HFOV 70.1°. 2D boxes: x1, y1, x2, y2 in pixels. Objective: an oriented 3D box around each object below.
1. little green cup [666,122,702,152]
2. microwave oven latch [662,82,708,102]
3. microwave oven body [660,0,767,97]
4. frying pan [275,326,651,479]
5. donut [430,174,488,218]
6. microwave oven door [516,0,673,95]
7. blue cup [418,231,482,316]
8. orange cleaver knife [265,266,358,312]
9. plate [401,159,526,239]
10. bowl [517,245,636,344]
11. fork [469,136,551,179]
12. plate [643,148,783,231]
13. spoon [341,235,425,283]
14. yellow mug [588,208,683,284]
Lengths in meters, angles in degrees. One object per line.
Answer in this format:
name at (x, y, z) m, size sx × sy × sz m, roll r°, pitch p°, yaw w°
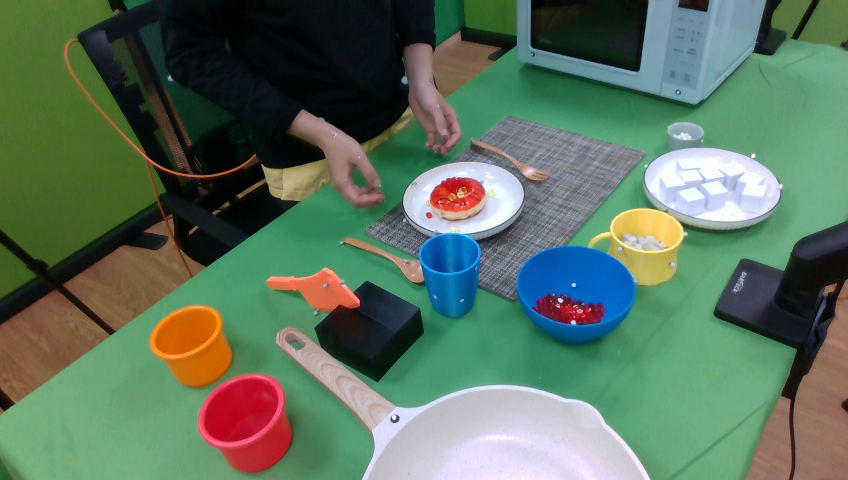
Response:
little green cup at (0.471, -0.184, 1.102) m, size 0.061 × 0.039 × 0.061 m, roll -5°, pitch 41°, yaw 5°
microwave oven latch at (0.518, -0.298, 1.202) m, size 0.078 × 0.029 × 0.030 m, roll 28°, pitch 53°, yaw 35°
microwave oven body at (0.473, -0.516, 1.313) m, size 0.438 × 0.261 × 0.327 m, roll 26°, pitch 51°, yaw 34°
frying pan at (0.003, 0.229, 0.641) m, size 0.484 × 0.103 × 0.308 m, roll 34°, pitch 54°, yaw 28°
donut at (0.058, -0.076, 1.015) m, size 0.099 × 0.048 × 0.098 m, roll -6°, pitch 37°, yaw 5°
microwave oven door at (0.344, -0.458, 1.256) m, size 0.353 × 0.245 × 0.039 m, roll 26°, pitch 51°, yaw 33°
blue cup at (0.040, 0.053, 0.843) m, size 0.092 × 0.100 × 0.092 m, roll -4°, pitch 43°, yaw 4°
orange cleaver knife at (-0.164, 0.073, 0.864) m, size 0.210 × 0.077 × 0.012 m, roll -6°, pitch 31°, yaw 50°
plate at (0.067, -0.065, 1.019) m, size 0.209 × 0.038 × 0.208 m, roll -4°, pitch 40°, yaw 4°
bowl at (0.200, 0.084, 0.803) m, size 0.151 × 0.077 × 0.150 m, roll -4°, pitch 40°, yaw 4°
fork at (0.154, -0.156, 1.126) m, size 0.028 × 0.019 × 0.205 m, roll -39°, pitch 51°, yaw -17°
plate at (0.464, -0.080, 0.986) m, size 0.207 × 0.039 × 0.206 m, roll -4°, pitch 41°, yaw 4°
spoon at (-0.061, 0.022, 0.953) m, size 0.192 × 0.022 × 0.041 m, roll 24°, pitch 70°, yaw 30°
yellow mug at (0.305, 0.009, 0.884) m, size 0.131 × 0.064 × 0.099 m, roll -4°, pitch 40°, yaw 5°
